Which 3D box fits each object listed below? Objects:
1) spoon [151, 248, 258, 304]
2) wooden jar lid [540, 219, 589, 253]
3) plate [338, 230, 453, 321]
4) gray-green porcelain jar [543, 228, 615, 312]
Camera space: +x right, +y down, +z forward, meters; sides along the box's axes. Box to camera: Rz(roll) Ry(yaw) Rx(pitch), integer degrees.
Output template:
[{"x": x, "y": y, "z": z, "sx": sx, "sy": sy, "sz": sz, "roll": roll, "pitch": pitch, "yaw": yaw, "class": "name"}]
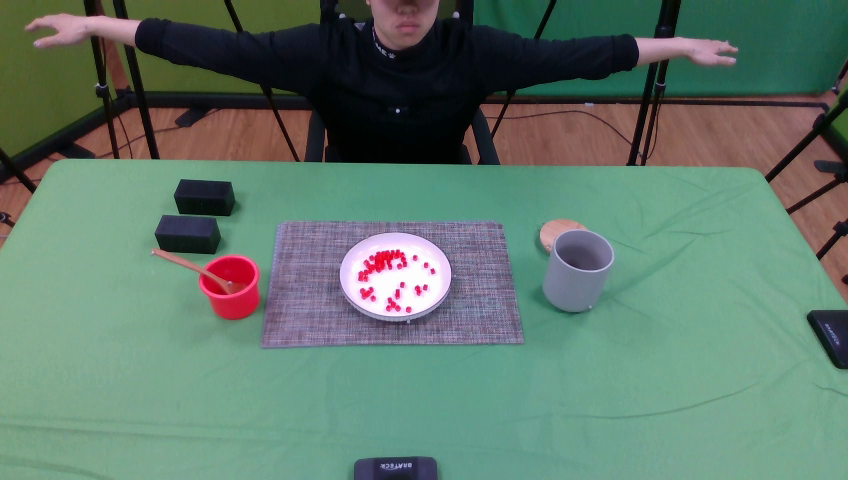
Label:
[{"x": -0.369, "y": 0.058, "z": 1.028, "sx": 0.195, "sy": 0.021, "sz": 0.041, "roll": 36, "pitch": 35, "yaw": -32, "class": "spoon"}, {"x": 0.286, "y": 0.001, "z": 1.219, "sx": 0.108, "sy": 0.021, "sz": 0.107, "roll": 1, "pitch": 46, "yaw": -1, "class": "wooden jar lid"}, {"x": -0.052, "y": 0.068, "z": 1.111, "sx": 0.208, "sy": 0.039, "sz": 0.206, "roll": 2, "pitch": 46, "yaw": -2, "class": "plate"}, {"x": 0.273, "y": 0.059, "z": 1.086, "sx": 0.106, "sy": 0.127, "sz": 0.105, "roll": 2, "pitch": 46, "yaw": -2, "class": "gray-green porcelain jar"}]
